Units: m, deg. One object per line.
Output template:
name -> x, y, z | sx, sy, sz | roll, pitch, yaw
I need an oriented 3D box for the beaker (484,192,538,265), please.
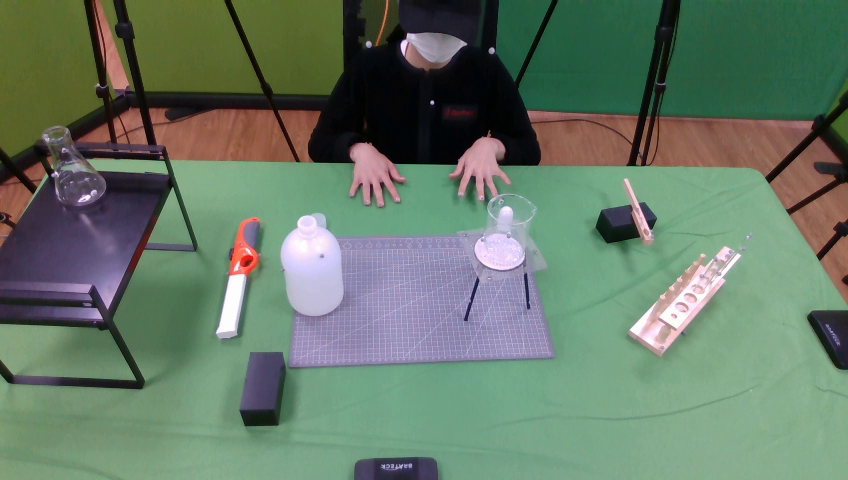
beaker -> 0.137, -0.016, 0.980 | 0.084, 0.101, 0.073 | -6, 45, -9

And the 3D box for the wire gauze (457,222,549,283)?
wire gauze -> 0.131, 0.016, 1.017 | 0.121, 0.011, 0.124 | -10, 44, -16

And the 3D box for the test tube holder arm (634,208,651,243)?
test tube holder arm -> 0.428, -0.030, 1.189 | 0.010, 0.015, 0.087 | 2, 47, -2

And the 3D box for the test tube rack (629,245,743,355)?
test tube rack -> 0.474, 0.095, 1.091 | 0.242, 0.085, 0.066 | -34, 56, -31

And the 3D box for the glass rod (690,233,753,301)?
glass rod -> 0.507, 0.053, 1.041 | 0.008, 0.200, 0.008 | 5, 51, -6

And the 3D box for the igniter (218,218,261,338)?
igniter -> -0.336, 0.060, 1.111 | 0.057, 0.025, 0.274 | -8, 46, 4

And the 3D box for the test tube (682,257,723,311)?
test tube -> 0.475, 0.080, 1.037 | 0.017, 0.151, 0.017 | 1, 50, -1

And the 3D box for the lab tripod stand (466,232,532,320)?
lab tripod stand -> 0.125, 0.059, 1.065 | 0.148, 0.132, 0.147 | 1, 45, 0

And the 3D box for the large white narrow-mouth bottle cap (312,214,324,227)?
large white narrow-mouth bottle cap -> -0.219, -0.033, 1.214 | 0.038, 0.024, 0.037 | 2, 46, -2

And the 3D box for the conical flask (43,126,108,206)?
conical flask -> -0.555, -0.119, 0.953 | 0.075, 0.122, 0.075 | 2, 46, -2

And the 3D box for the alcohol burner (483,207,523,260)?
alcohol burner -> 0.152, -0.018, 1.156 | 0.078, 0.120, 0.077 | 0, 47, 0

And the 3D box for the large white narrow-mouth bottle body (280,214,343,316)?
large white narrow-mouth bottle body -> -0.190, 0.035, 1.025 | 0.102, 0.195, 0.101 | 2, 46, -2

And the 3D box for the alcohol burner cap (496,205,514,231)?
alcohol burner cap -> 0.153, -0.044, 1.131 | 0.034, 0.048, 0.033 | 2, 40, -1

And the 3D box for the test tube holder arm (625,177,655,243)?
test tube holder arm -> 0.433, -0.063, 1.220 | 0.013, 0.015, 0.177 | 1, 47, -3
